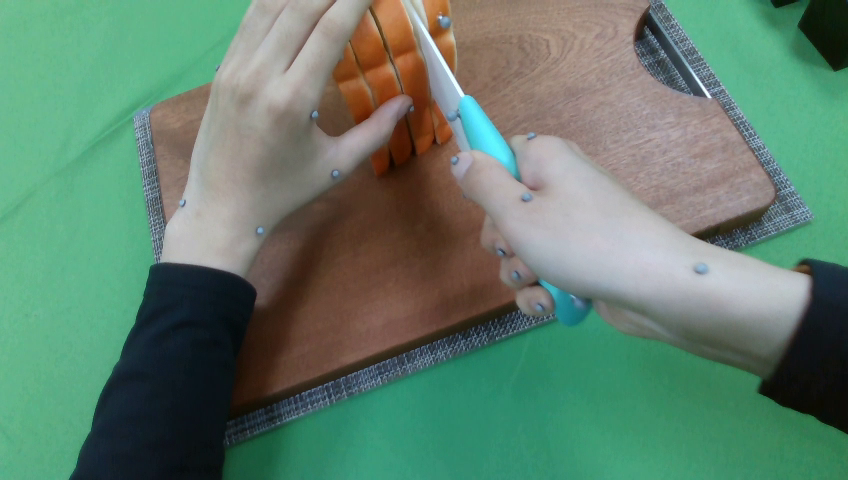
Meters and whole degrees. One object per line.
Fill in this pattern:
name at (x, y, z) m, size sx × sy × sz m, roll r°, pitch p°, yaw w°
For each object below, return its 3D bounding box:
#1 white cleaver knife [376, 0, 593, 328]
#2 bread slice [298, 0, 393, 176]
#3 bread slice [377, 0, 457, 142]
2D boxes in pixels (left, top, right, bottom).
white cleaver knife at (0.021, -0.076, 0.357) m, size 0.021 × 0.066 × 0.284 m, roll -24°, pitch 69°, yaw -3°
bread slice at (-0.056, -0.120, 0.403) m, size 0.018 × 0.135 × 0.106 m, roll -25°, pitch 63°, yaw -3°
bread slice at (-0.006, -0.142, 0.406) m, size 0.019 × 0.132 × 0.104 m, roll -24°, pitch 65°, yaw -8°
